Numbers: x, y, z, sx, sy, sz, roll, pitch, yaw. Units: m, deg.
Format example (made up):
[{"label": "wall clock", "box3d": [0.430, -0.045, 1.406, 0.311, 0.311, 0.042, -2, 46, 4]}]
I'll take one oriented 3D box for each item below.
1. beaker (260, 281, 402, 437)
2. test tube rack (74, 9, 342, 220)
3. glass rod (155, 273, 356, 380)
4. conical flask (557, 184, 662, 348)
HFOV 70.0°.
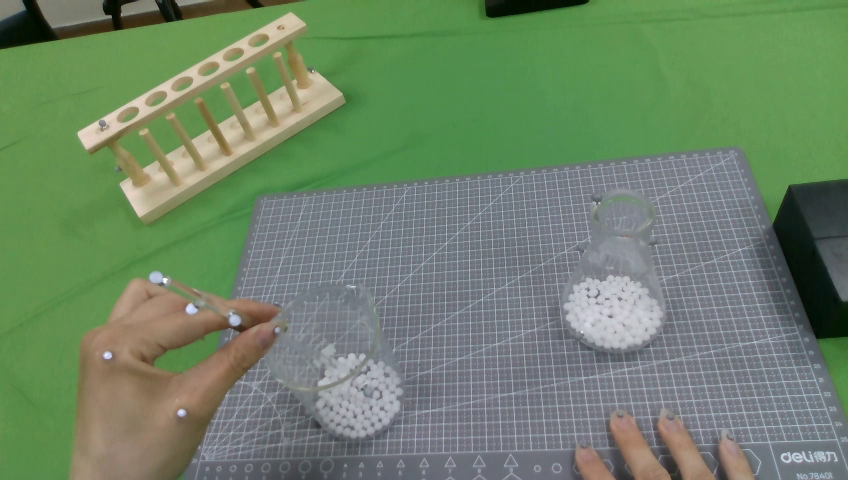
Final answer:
[{"label": "beaker", "box3d": [-0.056, 0.084, 0.414, 0.073, 0.101, 0.083, 22, 61, 25]}, {"label": "test tube rack", "box3d": [-0.211, -0.130, 0.618, 0.242, 0.086, 0.066, -36, 55, -14]}, {"label": "glass rod", "box3d": [-0.091, 0.061, 0.376, 0.008, 0.202, 0.008, -10, 61, 19]}, {"label": "conical flask", "box3d": [0.128, 0.016, 0.410, 0.075, 0.123, 0.074, -6, 53, 8]}]
